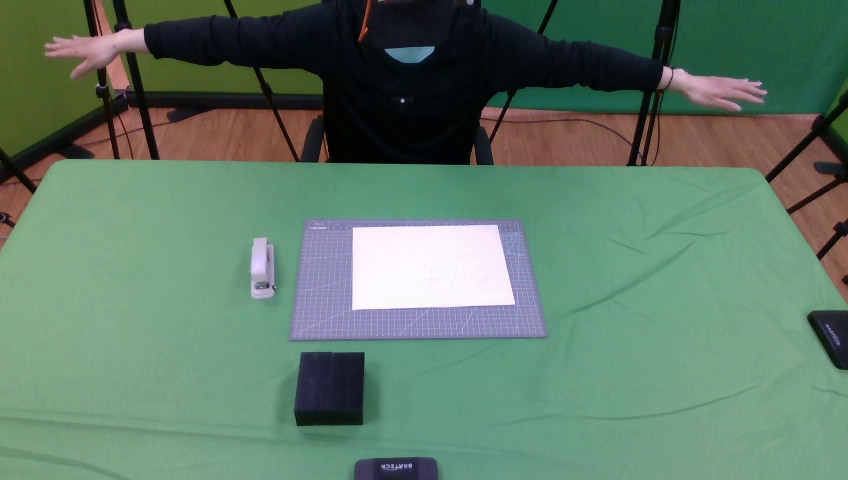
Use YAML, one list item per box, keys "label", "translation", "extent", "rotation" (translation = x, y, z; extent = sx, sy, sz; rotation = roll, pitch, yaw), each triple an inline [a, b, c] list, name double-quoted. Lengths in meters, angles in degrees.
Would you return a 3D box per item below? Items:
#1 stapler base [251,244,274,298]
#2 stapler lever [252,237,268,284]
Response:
- label: "stapler base"
  translation: [-0.300, 0.050, 1.124]
  extent: [0.041, 0.024, 0.129]
  rotation: [-4, 45, -11]
- label: "stapler lever"
  translation: [-0.299, 0.031, 1.107]
  extent: [0.027, 0.040, 0.117]
  rotation: [-4, 45, -11]
